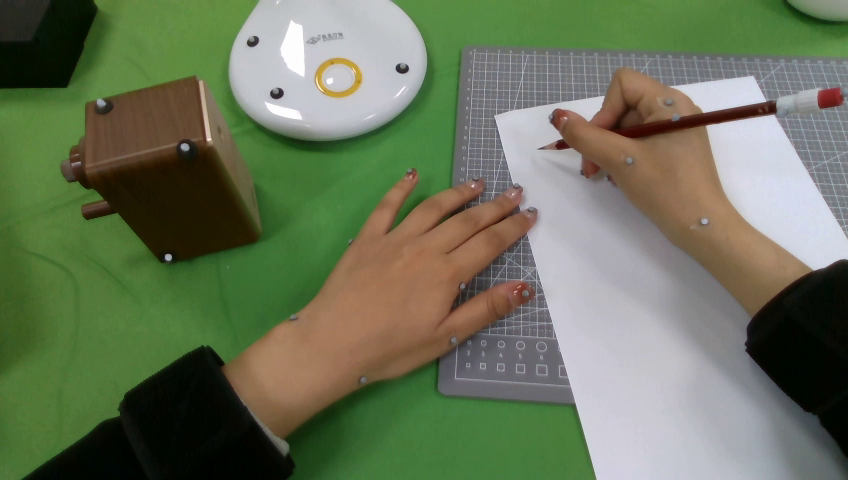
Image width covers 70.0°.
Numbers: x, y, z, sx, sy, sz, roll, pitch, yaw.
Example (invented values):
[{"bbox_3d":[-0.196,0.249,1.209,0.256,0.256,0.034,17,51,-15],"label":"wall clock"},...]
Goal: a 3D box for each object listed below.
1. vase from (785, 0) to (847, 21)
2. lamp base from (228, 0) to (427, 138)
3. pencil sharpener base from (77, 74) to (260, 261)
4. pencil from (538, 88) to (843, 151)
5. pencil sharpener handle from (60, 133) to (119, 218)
[{"bbox_3d":[0.346,-0.267,0.450,0.098,0.202,0.097,-1,58,3],"label":"vase"},{"bbox_3d":[-0.087,-0.195,0.433,0.161,0.182,0.177,-24,60,-12],"label":"lamp base"},{"bbox_3d":[-0.159,-0.041,0.389,0.077,0.108,0.061,-15,61,-6],"label":"pencil sharpener base"},{"bbox_3d":[0.144,-0.068,0.371,0.193,0.012,0.012,-1,47,51],"label":"pencil"},{"bbox_3d":[-0.209,-0.035,0.373,0.031,0.068,0.035,-15,63,-6],"label":"pencil sharpener handle"}]
